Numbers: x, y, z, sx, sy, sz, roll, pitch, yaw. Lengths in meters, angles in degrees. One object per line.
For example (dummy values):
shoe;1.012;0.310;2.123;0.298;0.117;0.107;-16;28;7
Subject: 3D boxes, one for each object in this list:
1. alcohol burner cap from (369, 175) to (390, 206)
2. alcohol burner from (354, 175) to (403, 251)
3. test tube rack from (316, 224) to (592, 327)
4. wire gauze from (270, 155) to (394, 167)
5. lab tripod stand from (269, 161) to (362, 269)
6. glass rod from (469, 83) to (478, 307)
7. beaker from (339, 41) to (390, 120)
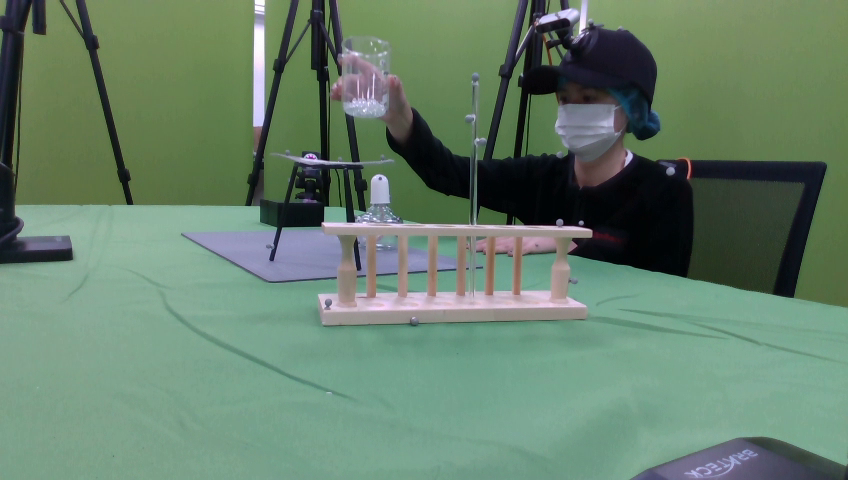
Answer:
alcohol burner cap;-0.069;-0.077;0.939;0.034;0.048;0.034;-1;6;0
alcohol burner;-0.072;-0.042;0.944;0.078;0.119;0.078;1;9;0
test tube rack;0.026;0.028;0.555;0.243;0.085;0.066;1;7;-15
wire gauze;-0.121;-0.102;0.785;0.122;0.011;0.124;-3;10;-39
lab tripod stand;-0.125;-0.036;0.794;0.148;0.131;0.148;5;7;0
glass rod;0.043;-0.033;0.523;0.008;0.199;0.008;-1;14;1
beaker;-0.086;-0.235;0.902;0.074;0.100;0.083;3;-3;-42
